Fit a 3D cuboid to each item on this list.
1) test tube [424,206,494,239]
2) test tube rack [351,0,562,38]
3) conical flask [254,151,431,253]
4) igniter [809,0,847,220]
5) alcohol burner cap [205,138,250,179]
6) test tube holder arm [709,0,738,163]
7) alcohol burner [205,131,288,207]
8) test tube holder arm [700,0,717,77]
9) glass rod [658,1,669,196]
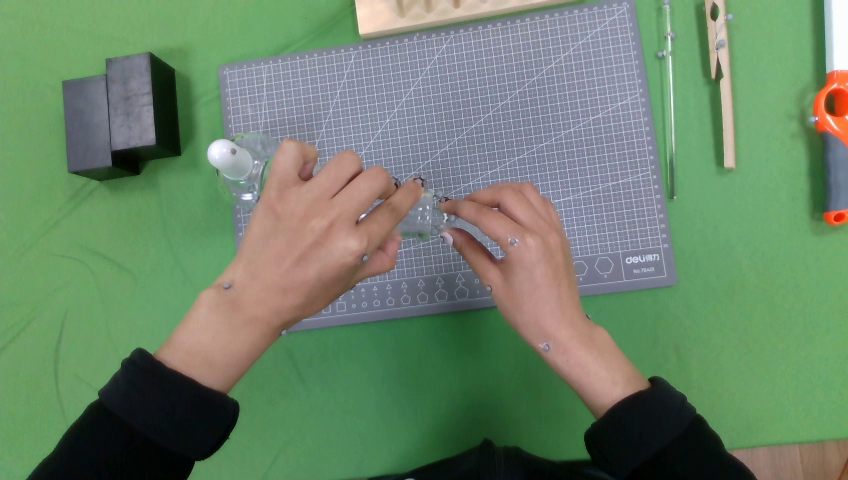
[{"bbox_3d":[0.035,-0.014,0.531,0.017,0.151,0.017,-2,85,22],"label":"test tube"},{"bbox_3d":[0.038,-0.273,0.609,0.242,0.085,0.066,-9,85,6],"label":"test tube rack"},{"bbox_3d":[-0.057,-0.024,0.445,0.122,0.075,0.075,4,86,-2],"label":"conical flask"},{"bbox_3d":[0.403,-0.157,0.589,0.057,0.025,0.276,1,87,-3],"label":"igniter"},{"bbox_3d":[-0.186,-0.079,0.566,0.034,0.048,0.033,0,81,3],"label":"alcohol burner cap"},{"bbox_3d":[0.297,-0.165,0.604,0.013,0.015,0.178,-10,84,42],"label":"test tube holder arm"},{"bbox_3d":[-0.181,-0.074,0.602,0.078,0.119,0.077,-1,85,9],"label":"alcohol burner"},{"bbox_3d":[0.289,-0.209,0.611,0.010,0.015,0.087,-8,85,42],"label":"test tube holder arm"},{"bbox_3d":[0.244,-0.144,0.615,0.008,0.008,0.199,-1,88,6],"label":"glass rod"}]
